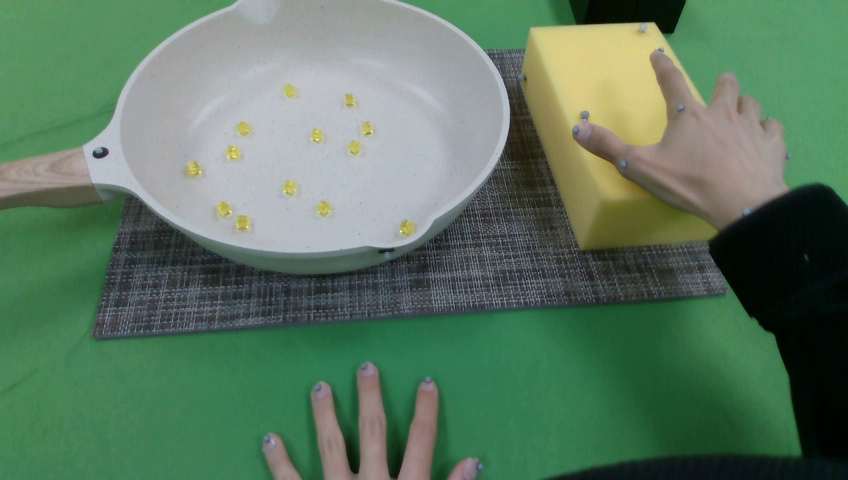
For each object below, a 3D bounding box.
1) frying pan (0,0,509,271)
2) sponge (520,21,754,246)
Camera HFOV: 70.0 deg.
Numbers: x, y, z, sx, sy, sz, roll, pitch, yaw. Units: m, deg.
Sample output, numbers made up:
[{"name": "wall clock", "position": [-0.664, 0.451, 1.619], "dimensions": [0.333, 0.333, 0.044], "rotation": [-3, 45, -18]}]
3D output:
[{"name": "frying pan", "position": [-0.173, -0.066, 0.438], "dimensions": [0.489, 0.103, 0.303], "rotation": [-15, 54, -24]}, {"name": "sponge", "position": [0.164, -0.097, 0.506], "dimensions": [0.118, 0.061, 0.204], "rotation": [-5, 53, -7]}]
